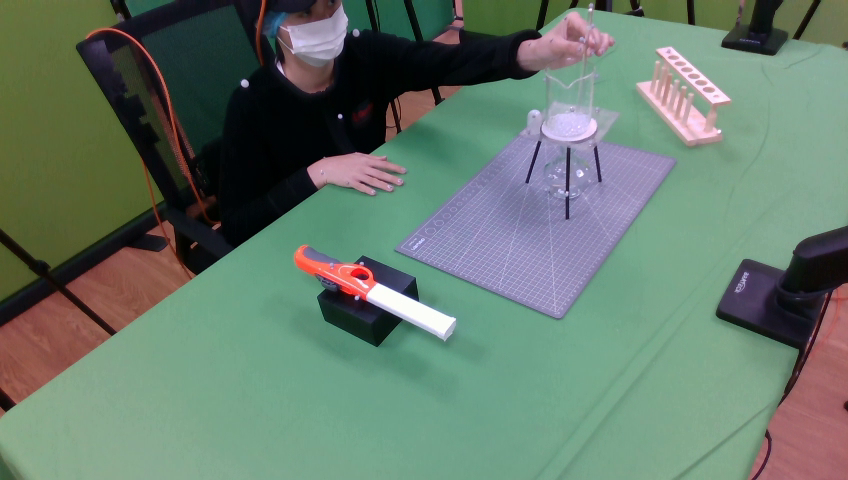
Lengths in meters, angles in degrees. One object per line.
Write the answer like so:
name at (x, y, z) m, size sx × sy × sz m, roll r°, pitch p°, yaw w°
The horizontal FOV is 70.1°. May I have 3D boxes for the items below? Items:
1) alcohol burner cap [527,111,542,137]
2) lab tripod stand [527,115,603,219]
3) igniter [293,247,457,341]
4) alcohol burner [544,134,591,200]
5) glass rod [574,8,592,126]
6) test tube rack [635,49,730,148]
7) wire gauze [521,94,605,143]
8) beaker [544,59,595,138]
alcohol burner cap at (0.221, -0.233, 1.200) m, size 0.034 × 0.048 × 0.033 m, roll -6°, pitch 41°, yaw 6°
lab tripod stand at (0.234, -0.129, 1.002) m, size 0.148 × 0.132 × 0.147 m, roll -6°, pitch 40°, yaw 6°
igniter at (-0.077, 0.068, 0.830) m, size 0.274 × 0.025 × 0.057 m, roll 22°, pitch 48°, yaw 27°
alcohol burner at (0.241, -0.127, 1.014) m, size 0.078 × 0.119 × 0.077 m, roll -5°, pitch 42°, yaw 5°
glass rod at (0.230, -0.245, 0.880) m, size 0.008 × 0.200 × 0.008 m, roll -3°, pitch 51°, yaw 5°
test tube rack at (0.497, -0.283, 1.185) m, size 0.067 × 0.085 × 0.240 m, roll -10°, pitch 40°, yaw -2°
wire gauze at (0.219, -0.190, 0.949) m, size 0.121 × 0.011 × 0.125 m, roll 7°, pitch 46°, yaw 14°
beaker at (0.222, -0.214, 0.926) m, size 0.074 × 0.101 × 0.084 m, roll 3°, pitch 42°, yaw 16°
